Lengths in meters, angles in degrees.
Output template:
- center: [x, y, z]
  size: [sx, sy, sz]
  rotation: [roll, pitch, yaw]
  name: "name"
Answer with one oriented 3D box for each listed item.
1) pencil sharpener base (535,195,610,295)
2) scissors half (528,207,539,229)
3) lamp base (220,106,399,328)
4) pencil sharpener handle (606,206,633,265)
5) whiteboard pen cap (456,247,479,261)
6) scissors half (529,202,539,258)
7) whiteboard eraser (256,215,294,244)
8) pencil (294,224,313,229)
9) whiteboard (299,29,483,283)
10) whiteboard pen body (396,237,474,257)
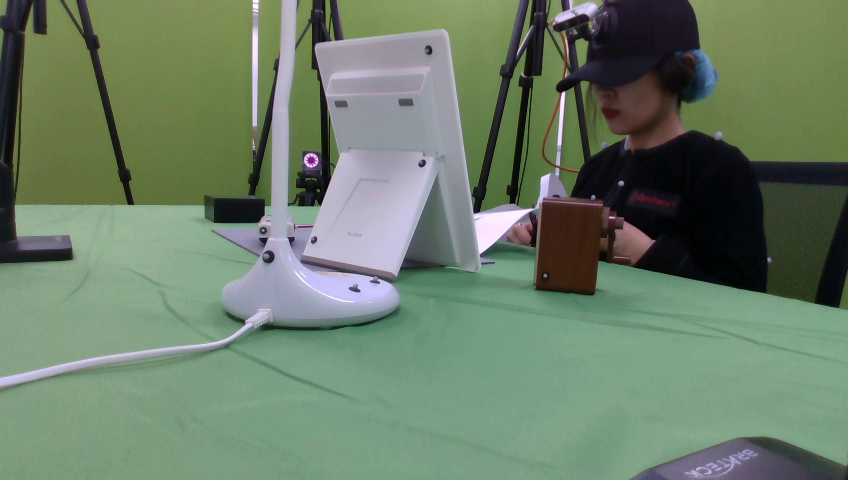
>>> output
- center: [0.172, 0.005, 0.695]
  size: [0.076, 0.107, 0.061]
  rotation: [5, 7, 16]
  name: "pencil sharpener base"
- center: [0.206, -0.035, 1.075]
  size: [0.013, 0.040, 0.176]
  rotation: [20, -1, 25]
  name: "scissors half"
- center: [-0.101, -0.023, 0.531]
  size: [0.160, 0.180, 0.179]
  rotation: [4, 10, 10]
  name: "lamp base"
- center: [0.222, -0.004, 0.683]
  size: [0.030, 0.068, 0.036]
  rotation: [5, 21, 16]
  name: "pencil sharpener handle"
- center: [0.060, 0.020, 0.851]
  size: [0.033, 0.018, 0.018]
  rotation: [10, 10, 37]
  name: "whiteboard pen cap"
- center: [0.195, -0.017, 1.071]
  size: [0.012, 0.040, 0.175]
  rotation: [25, -24, 27]
  name: "scissors half"
- center: [-0.232, -0.016, 0.951]
  size: [0.056, 0.042, 0.112]
  rotation: [2, 7, -12]
  name: "whiteboard eraser"
- center: [-0.221, -0.029, 1.211]
  size: [0.195, 0.012, 0.012]
  rotation: [-5, 10, -34]
  name: "pencil"
- center: [-0.074, -0.082, 0.742]
  size: [0.216, 0.305, 0.144]
  rotation: [9, 30, 38]
  name: "whiteboard"
- center: [0.014, 0.012, 0.886]
  size: [0.140, 0.017, 0.017]
  rotation: [9, 10, 38]
  name: "whiteboard pen body"
